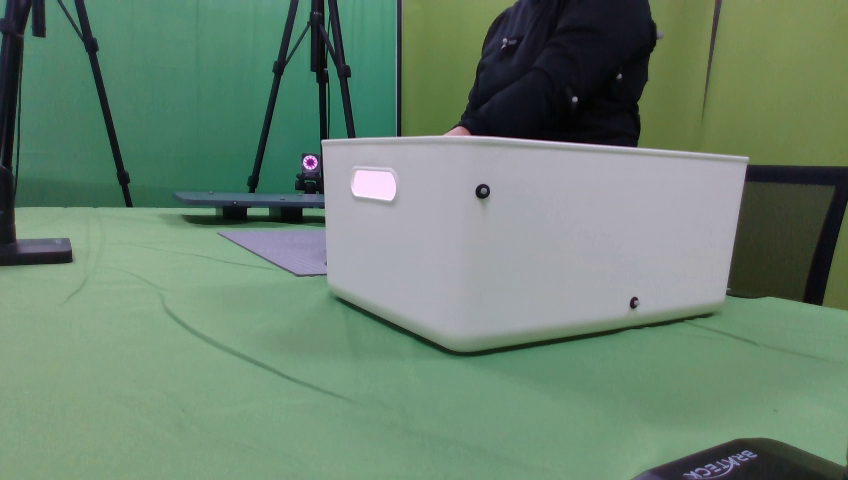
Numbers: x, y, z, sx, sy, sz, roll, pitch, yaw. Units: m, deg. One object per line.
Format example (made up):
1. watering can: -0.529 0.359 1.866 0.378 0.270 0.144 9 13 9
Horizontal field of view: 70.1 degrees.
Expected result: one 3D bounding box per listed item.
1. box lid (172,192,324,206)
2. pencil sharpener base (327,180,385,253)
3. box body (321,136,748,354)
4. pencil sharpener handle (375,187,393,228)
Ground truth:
1. box lid: -0.355 -0.091 1.350 0.373 0.015 0.262 -1 8 -29
2. pencil sharpener base: -0.103 -0.037 0.932 0.077 0.107 0.061 -1 8 -30
3. box body: 0.105 -0.011 0.604 0.366 0.160 0.253 -2 8 -33
4. pencil sharpener handle: -0.060 -0.051 0.960 0.031 0.067 0.036 -1 24 -30
